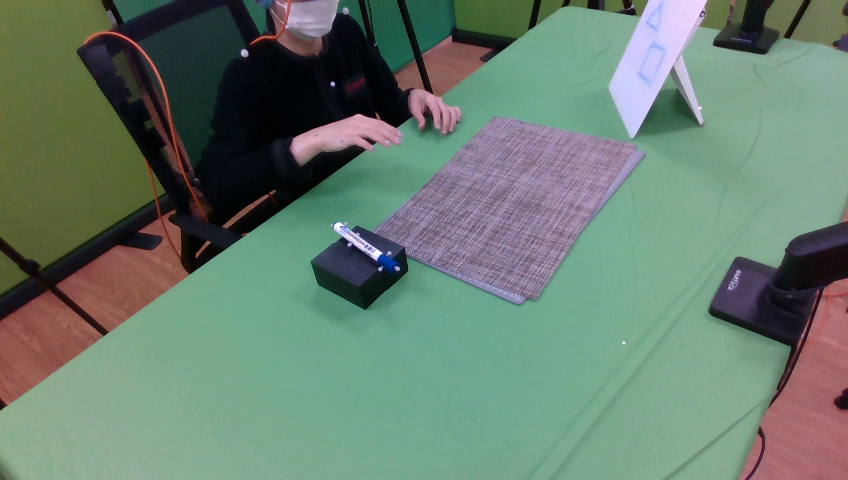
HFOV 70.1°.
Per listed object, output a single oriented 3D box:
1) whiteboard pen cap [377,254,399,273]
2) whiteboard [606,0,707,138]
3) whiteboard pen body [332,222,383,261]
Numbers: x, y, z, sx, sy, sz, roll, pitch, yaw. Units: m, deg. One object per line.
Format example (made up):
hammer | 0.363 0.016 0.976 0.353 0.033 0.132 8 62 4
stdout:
whiteboard pen cap | -0.052 0.033 0.869 0.018 0.018 0.033 -34 46 -28
whiteboard | 0.496 -0.359 1.147 0.144 0.305 0.216 11 40 -7
whiteboard pen body | -0.093 0.006 0.905 0.017 0.017 0.139 -34 47 -28
